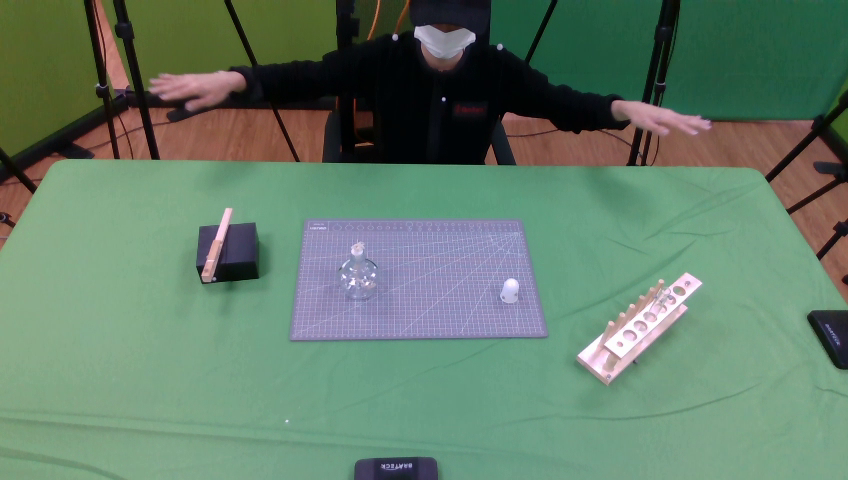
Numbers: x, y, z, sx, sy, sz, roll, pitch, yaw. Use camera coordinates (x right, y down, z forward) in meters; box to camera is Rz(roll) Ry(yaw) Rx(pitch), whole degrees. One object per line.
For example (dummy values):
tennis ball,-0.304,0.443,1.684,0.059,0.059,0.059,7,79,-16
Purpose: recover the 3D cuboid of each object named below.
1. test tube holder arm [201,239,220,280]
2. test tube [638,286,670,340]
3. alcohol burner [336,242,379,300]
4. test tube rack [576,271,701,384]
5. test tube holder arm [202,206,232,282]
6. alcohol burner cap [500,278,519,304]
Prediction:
test tube holder arm,-0.374,0.033,1.064,0.015,0.010,0.087,1,47,-1
test tube,0.373,0.122,0.994,0.017,0.151,0.017,0,51,0
alcohol burner,-0.118,0.050,1.072,0.078,0.120,0.077,2,44,-1
test tube rack,0.373,0.138,1.047,0.242,0.085,0.066,-31,56,-29
test tube holder arm,-0.373,0.004,1.098,0.015,0.013,0.177,1,47,-1
alcohol burner cap,0.157,0.090,1.104,0.034,0.048,0.033,2,46,-2
